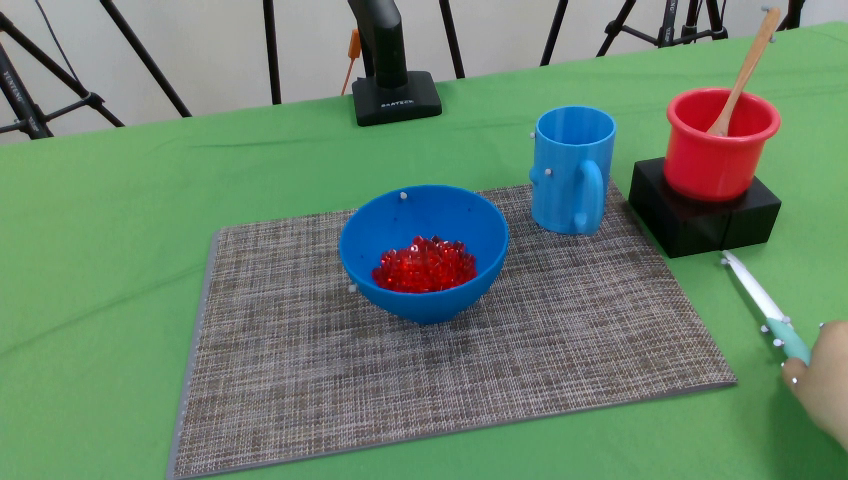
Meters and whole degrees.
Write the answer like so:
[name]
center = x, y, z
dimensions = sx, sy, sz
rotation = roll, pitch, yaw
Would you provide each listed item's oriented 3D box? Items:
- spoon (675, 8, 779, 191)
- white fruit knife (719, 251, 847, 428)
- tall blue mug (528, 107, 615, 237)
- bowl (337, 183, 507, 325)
[spoon]
center = 0.297, -0.135, 0.581
dimensions = 0.041, 0.022, 0.194
rotation = 27, 95, 34
[white fruit knife]
center = 0.303, 0.074, 0.516
dimensions = 0.027, 0.016, 0.205
rotation = 8, 36, -14
[tall blue mug]
center = 0.158, -0.062, 0.611
dimensions = 0.078, 0.109, 0.106
rotation = -28, 45, -24
[bowl]
center = 0.001, 0.024, 0.555
dimensions = 0.151, 0.077, 0.150
rotation = -3, 41, 3
